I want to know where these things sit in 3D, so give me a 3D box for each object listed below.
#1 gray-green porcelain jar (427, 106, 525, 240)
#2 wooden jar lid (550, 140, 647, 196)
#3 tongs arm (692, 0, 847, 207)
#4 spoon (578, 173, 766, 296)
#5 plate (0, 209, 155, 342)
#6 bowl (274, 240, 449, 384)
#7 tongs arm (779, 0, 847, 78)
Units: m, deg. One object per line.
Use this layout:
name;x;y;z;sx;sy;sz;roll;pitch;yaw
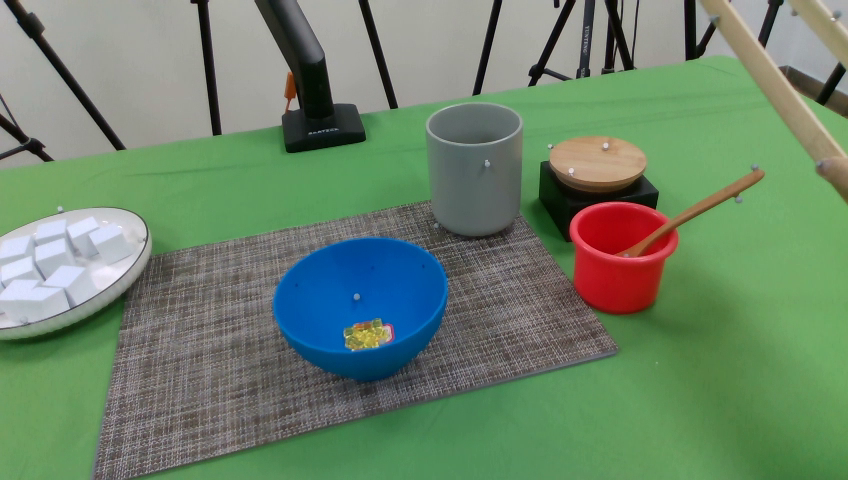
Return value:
gray-green porcelain jar;0.059;-0.072;0.686;0.106;0.127;0.105;-3;37;2
wooden jar lid;0.200;-0.083;0.698;0.108;0.021;0.107;-3;37;3
tongs arm;0.294;-0.090;0.459;0.028;0.028;0.383;-15;59;-6
spoon;0.227;-0.003;0.568;0.194;0.022;0.041;-41;25;28
plate;-0.398;0.038;0.661;0.209;0.038;0.207;-3;37;3
bowl;-0.051;0.075;0.540;0.151;0.077;0.150;-3;36;2
tongs arm;0.332;-0.101;0.459;0.051;0.027;0.381;-17;60;-2
